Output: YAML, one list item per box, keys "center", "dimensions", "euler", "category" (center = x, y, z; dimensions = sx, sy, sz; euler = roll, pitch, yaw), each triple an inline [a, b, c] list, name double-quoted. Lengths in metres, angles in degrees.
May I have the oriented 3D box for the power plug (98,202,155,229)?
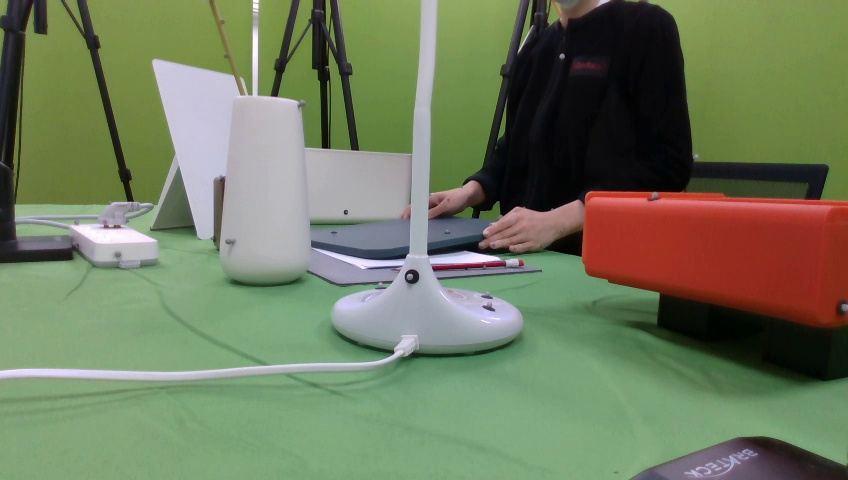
- center: [-0.416, -0.027, 0.848]
  dimensions: [0.073, 0.052, 0.035]
  euler: [0, 8, -28]
  category: "power plug"

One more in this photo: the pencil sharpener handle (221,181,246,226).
- center: [-0.289, -0.055, 0.912]
  dimensions: [0.036, 0.067, 0.030]
  euler: [-3, 9, -29]
  category: "pencil sharpener handle"

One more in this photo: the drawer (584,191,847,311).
- center: [0.280, 0.001, 0.513]
  dimensions: [0.195, 0.073, 0.211]
  euler: [0, 8, -28]
  category: "drawer"

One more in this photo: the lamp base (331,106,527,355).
- center: [0.006, -0.012, 0.478]
  dimensions: [0.161, 0.180, 0.179]
  euler: [2, 10, 2]
  category: "lamp base"

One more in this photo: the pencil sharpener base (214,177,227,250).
- center: [-0.265, -0.036, 0.870]
  dimensions: [0.061, 0.107, 0.076]
  euler: [-2, 8, -29]
  category: "pencil sharpener base"

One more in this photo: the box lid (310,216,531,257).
- center: [-0.023, -0.012, 1.021]
  dimensions: [0.373, 0.015, 0.262]
  euler: [-9, 11, -44]
  category: "box lid"

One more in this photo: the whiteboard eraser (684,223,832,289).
- center: [0.305, 0.013, 0.558]
  dimensions: [0.056, 0.042, 0.112]
  euler: [-9, 19, -31]
  category: "whiteboard eraser"

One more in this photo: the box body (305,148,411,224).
- center: [-0.233, -0.127, 1.374]
  dimensions: [0.366, 0.160, 0.253]
  euler: [-2, 8, -29]
  category: "box body"

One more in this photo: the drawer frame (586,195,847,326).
- center: [0.284, 0.004, 0.508]
  dimensions: [0.203, 0.082, 0.212]
  euler: [-1, 6, -28]
  category: "drawer frame"

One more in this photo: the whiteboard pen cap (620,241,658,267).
- center: [0.199, 0.013, 0.557]
  dimensions: [0.018, 0.018, 0.033]
  euler: [-4, 18, -40]
  category: "whiteboard pen cap"

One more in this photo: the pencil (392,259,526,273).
- center: [0.049, 0.035, 0.782]
  dimensions: [0.195, 0.012, 0.012]
  euler: [-2, 9, -25]
  category: "pencil"

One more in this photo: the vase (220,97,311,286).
- center: [-0.172, -0.052, 0.662]
  dimensions: [0.098, 0.200, 0.098]
  euler: [3, 8, 0]
  category: "vase"

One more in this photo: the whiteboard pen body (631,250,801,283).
- center: [0.240, 0.020, 0.512]
  dimensions: [0.017, 0.017, 0.140]
  euler: [-4, 8, -41]
  category: "whiteboard pen body"

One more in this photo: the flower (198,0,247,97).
- center: [-0.187, -0.133, 0.648]
  dimensions: [0.038, 0.362, 0.044]
  euler: [0, 22, 43]
  category: "flower"

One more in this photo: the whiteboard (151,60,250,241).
- center: [-0.408, -0.140, 1.094]
  dimensions: [0.143, 0.305, 0.218]
  euler: [-15, 0, 25]
  category: "whiteboard"

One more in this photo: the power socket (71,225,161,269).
- center: [-0.408, 0.004, 0.793]
  dimensions: [0.072, 0.032, 0.225]
  euler: [-2, 8, -38]
  category: "power socket"
